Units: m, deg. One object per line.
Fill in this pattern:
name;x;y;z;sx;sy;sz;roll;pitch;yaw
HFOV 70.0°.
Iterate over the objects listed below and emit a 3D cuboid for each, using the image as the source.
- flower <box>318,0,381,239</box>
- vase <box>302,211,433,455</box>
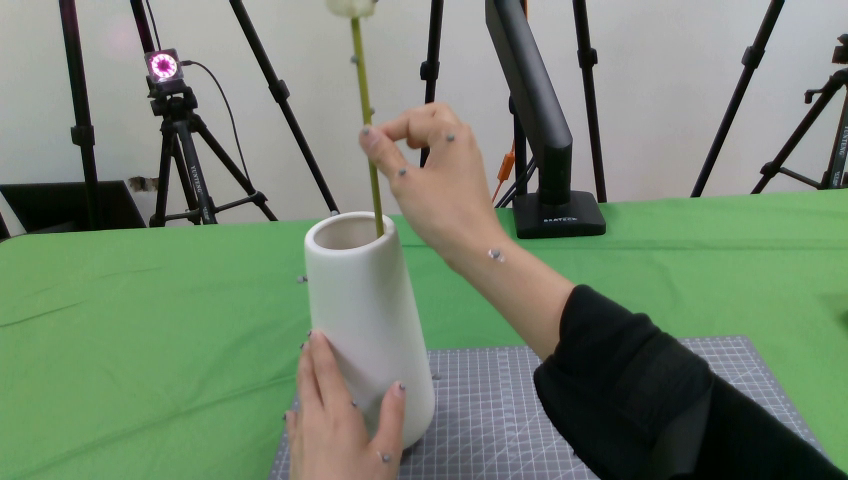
flower;-0.034;-0.025;0.428;0.038;0.364;0.044;11;27;35
vase;-0.046;0.079;0.497;0.098;0.201;0.097;-4;28;2
